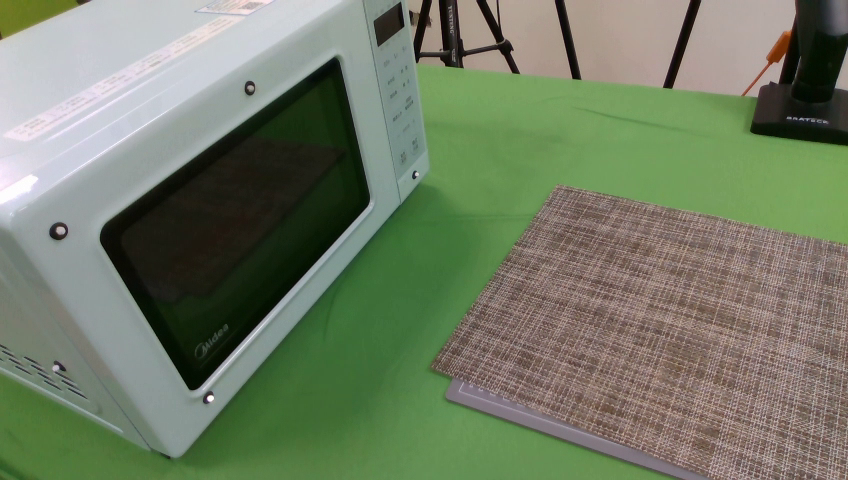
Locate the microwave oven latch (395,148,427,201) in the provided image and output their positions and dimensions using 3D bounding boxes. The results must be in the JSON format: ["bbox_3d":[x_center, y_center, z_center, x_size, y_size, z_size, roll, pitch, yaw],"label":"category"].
[{"bbox_3d":[-0.024,-0.080,0.720,0.030,0.030,0.079,14,45,25],"label":"microwave oven latch"}]

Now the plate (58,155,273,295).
[{"bbox_3d":[-0.252,-0.015,0.611,0.209,0.038,0.207,-6,39,5],"label":"plate"}]

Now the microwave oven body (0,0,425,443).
[{"bbox_3d":[-0.248,-0.079,0.605,0.324,0.263,0.440,14,45,25],"label":"microwave oven body"}]

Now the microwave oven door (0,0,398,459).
[{"bbox_3d":[-0.139,-0.027,0.513,0.039,0.246,0.354,13,44,25],"label":"microwave oven door"}]

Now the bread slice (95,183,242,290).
[{"bbox_3d":[-0.255,-0.013,0.616,0.104,0.019,0.131,22,52,31],"label":"bread slice"}]
